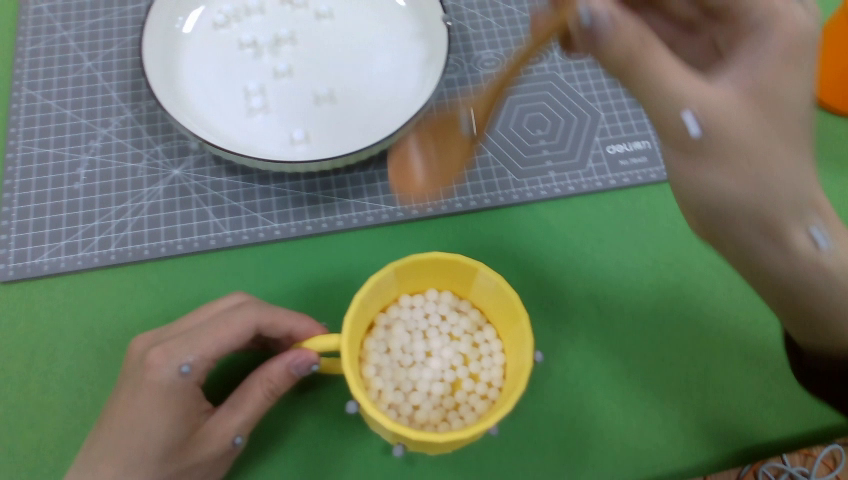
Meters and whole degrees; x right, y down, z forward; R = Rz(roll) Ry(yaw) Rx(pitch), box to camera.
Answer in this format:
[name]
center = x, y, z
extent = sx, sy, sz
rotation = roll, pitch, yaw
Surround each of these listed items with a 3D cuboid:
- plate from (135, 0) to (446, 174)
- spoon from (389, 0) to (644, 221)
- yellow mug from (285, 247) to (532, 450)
[plate]
center = -0.088, -0.133, 0.426
extent = 0.208, 0.039, 0.206
rotation = 2, 67, -3
[spoon]
center = 0.046, -0.064, 0.245
extent = 0.022, 0.194, 0.041
rotation = 3, 60, -38
[yellow mug]
center = -0.011, 0.062, 0.336
extent = 0.131, 0.064, 0.099
rotation = -1, 66, -3
